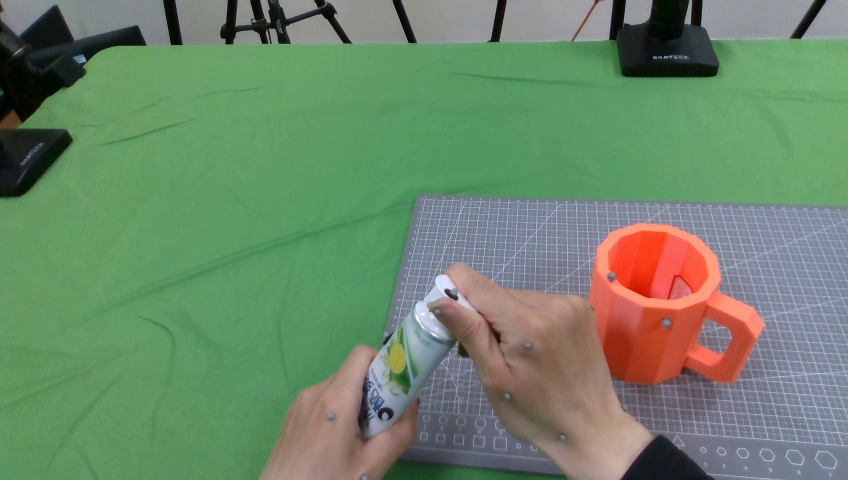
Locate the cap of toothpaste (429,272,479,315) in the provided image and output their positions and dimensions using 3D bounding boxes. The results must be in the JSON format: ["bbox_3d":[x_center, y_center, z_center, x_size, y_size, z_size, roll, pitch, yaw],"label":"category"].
[{"bbox_3d":[0.017,0.034,0.374,0.037,0.011,0.037,29,19,-11],"label":"cap of toothpaste"}]

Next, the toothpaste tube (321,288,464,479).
[{"bbox_3d":[-0.024,0.095,0.406,0.035,0.165,0.054,15,28,-38],"label":"toothpaste tube"}]

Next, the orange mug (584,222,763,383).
[{"bbox_3d":[0.186,0.056,0.465,0.125,0.102,0.083,25,53,33],"label":"orange mug"}]
